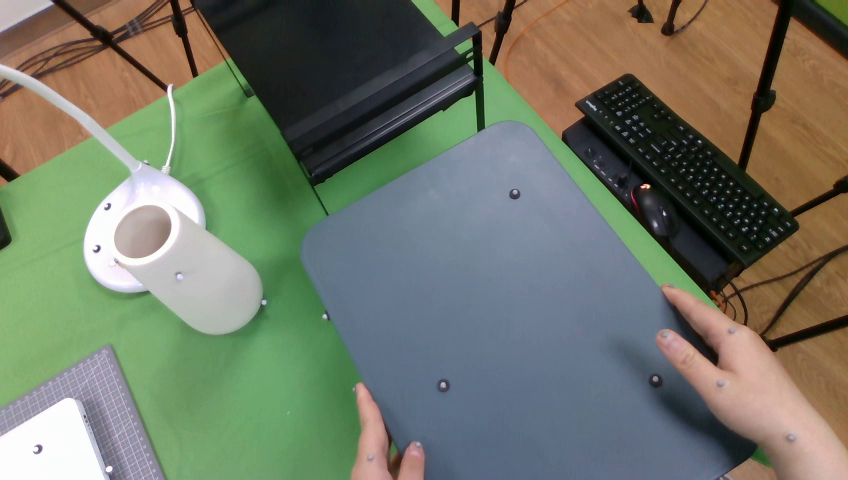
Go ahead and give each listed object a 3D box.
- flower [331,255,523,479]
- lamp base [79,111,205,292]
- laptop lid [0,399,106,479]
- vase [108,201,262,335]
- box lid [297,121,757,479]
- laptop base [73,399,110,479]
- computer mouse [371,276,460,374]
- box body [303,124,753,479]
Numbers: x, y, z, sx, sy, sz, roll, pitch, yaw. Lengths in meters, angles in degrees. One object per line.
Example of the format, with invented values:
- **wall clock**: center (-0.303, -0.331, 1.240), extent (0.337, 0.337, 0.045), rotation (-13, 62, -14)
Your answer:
- **flower**: center (0.023, 0.156, 0.633), extent (0.359, 0.038, 0.044), rotation (49, 36, 14)
- **lamp base**: center (-0.368, -0.051, 0.715), extent (0.160, 0.182, 0.177), rotation (-1, 63, 6)
- **laptop lid**: center (-0.484, 0.354, 0.618), extent (0.357, 0.013, 0.239), rotation (-31, 68, -8)
- **vase**: center (-0.251, 0.033, 0.653), extent (0.098, 0.201, 0.097), rotation (-3, 65, 7)
- **box lid**: center (0.069, 0.076, 0.528), extent (0.263, 0.015, 0.368), rotation (-30, 67, -6)
- **laptop base**: center (-0.484, 0.357, 0.630), extent (0.354, 0.023, 0.233), rotation (-32, 69, -9)
- **computer mouse**: center (-0.012, 0.091, 0.681), extent (0.063, 0.041, 0.116), rotation (-35, 56, -5)
- **box body**: center (0.082, 0.102, 0.604), extent (0.254, 0.162, 0.361), rotation (-31, 66, -7)
